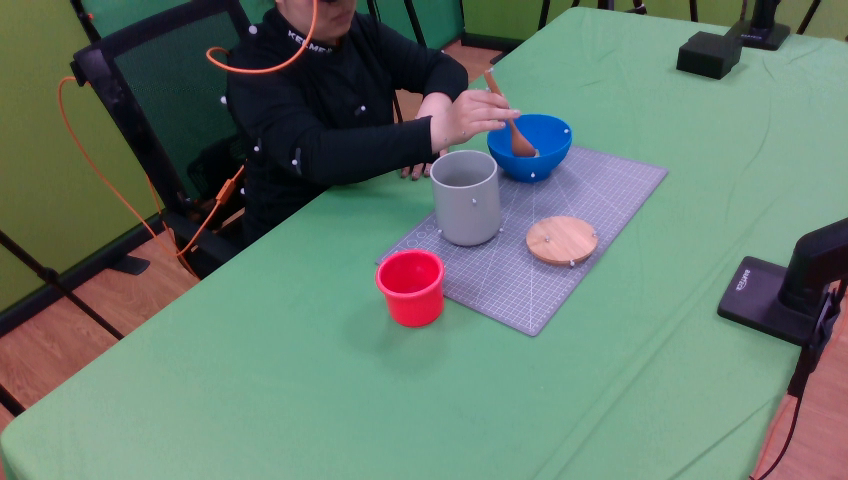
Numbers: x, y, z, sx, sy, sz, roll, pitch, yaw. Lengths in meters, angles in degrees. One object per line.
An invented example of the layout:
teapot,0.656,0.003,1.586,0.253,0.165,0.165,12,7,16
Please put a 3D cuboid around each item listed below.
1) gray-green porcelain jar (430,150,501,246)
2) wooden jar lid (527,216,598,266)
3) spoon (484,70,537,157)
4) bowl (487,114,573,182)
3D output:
gray-green porcelain jar,0.069,-0.062,0.959,0.106,0.127,0.105,-5,40,5
wooden jar lid,0.214,0.003,0.937,0.108,0.021,0.108,-4,40,4
spoon,0.139,-0.202,1.001,0.041,0.195,0.021,-8,43,32
bowl,0.190,-0.156,1.085,0.151,0.077,0.150,-5,40,5
